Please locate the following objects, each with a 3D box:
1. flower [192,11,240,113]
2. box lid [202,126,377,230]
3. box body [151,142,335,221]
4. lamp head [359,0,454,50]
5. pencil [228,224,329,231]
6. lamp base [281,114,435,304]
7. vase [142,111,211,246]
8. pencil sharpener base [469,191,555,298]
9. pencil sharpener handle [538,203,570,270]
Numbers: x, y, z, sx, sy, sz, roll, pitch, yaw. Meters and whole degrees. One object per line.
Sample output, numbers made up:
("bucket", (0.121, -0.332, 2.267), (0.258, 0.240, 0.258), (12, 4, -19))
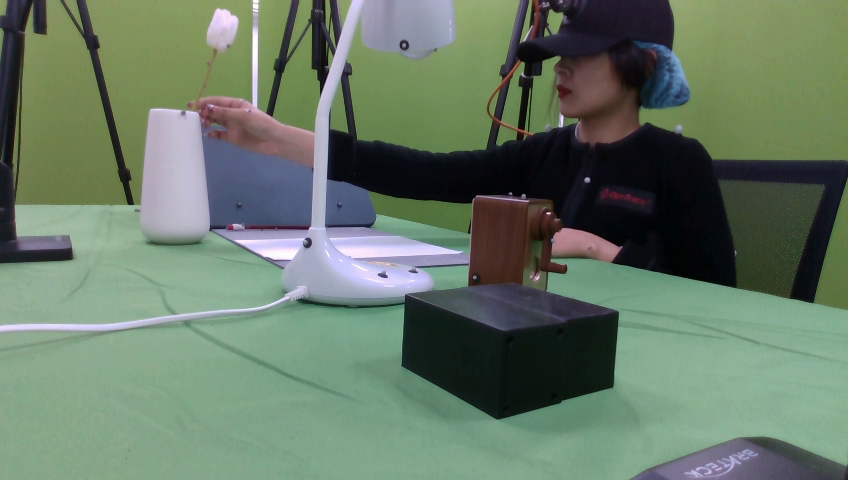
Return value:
("flower", (-0.354, -0.174, 0.915), (0.038, 0.361, 0.044), (18, -4, 11))
("box lid", (-0.290, -0.128, 1.237), (0.373, 0.262, 0.015), (-2, -35, -32))
("box body", (-0.413, -0.135, 1.379), (0.366, 0.160, 0.253), (-2, 9, -31))
("lamp head", (-0.024, -0.283, 0.674), (0.112, 0.123, 0.112), (-3, 38, 3))
("pencil", (-0.265, -0.023, 1.124), (0.195, 0.012, 0.012), (-1, 8, -32))
("lamp base", (-0.071, -0.034, 0.614), (0.160, 0.180, 0.180), (6, 10, 27))
("vase", (-0.378, -0.093, 0.920), (0.098, 0.200, 0.098), (2, 9, 0))
("pencil sharpener base", (0.097, 0.003, 0.652), (0.076, 0.107, 0.061), (8, 9, 38))
("pencil sharpener handle", (0.137, -0.003, 0.619), (0.030, 0.067, 0.036), (8, 4, 38))
